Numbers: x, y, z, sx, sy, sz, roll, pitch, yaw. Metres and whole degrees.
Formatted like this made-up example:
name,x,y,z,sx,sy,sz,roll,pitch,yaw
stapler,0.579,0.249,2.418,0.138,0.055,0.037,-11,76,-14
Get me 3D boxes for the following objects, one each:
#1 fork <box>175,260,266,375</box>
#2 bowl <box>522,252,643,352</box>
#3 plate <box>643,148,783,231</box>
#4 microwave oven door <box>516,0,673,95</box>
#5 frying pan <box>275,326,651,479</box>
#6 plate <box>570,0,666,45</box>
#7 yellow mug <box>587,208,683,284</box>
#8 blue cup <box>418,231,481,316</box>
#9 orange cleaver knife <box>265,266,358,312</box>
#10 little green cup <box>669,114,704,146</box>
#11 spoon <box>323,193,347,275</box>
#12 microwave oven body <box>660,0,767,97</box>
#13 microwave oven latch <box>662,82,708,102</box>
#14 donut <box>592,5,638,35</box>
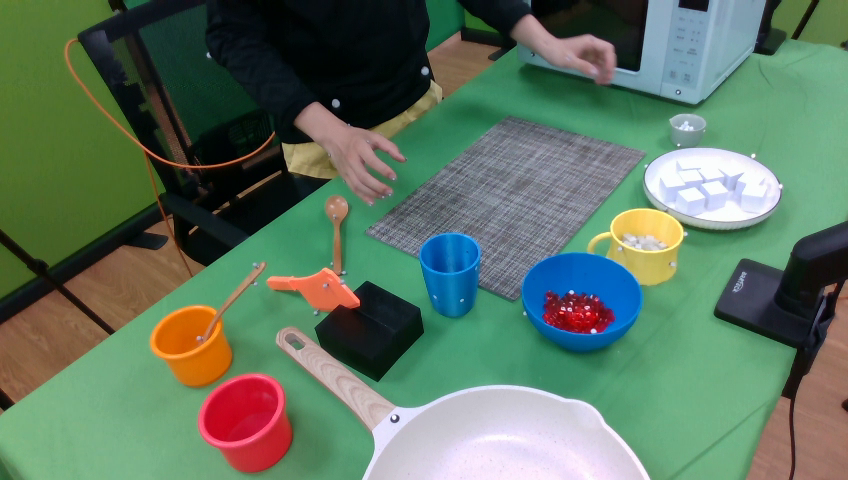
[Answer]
name,x,y,z,sx,sy,sz,roll,pitch,yaw
fork,-0.268,0.102,0.792,0.207,0.019,0.028,-51,41,16
bowl,0.204,0.093,0.792,0.151,0.077,0.150,-4,40,4
plate,0.464,-0.080,0.986,0.207,0.039,0.206,-4,40,4
microwave oven door,0.344,-0.458,1.256,0.353,0.245,0.039,26,51,33
frying pan,0.004,0.229,0.641,0.484,0.103,0.308,34,54,28
plate,0.436,-0.489,1.368,0.209,0.038,0.208,-5,40,5
yellow mug,0.305,0.009,0.884,0.131,0.064,0.099,-4,41,5
blue cup,0.039,0.053,0.843,0.092,0.100,0.092,-4,43,4
orange cleaver knife,-0.164,0.073,0.864,0.210,0.077,0.012,-6,31,50
little green cup,0.485,-0.203,1.123,0.061,0.039,0.061,-5,40,5
spoon,-0.148,-0.014,1.008,0.042,0.022,0.192,1,40,-9
microwave oven body,0.473,-0.516,1.314,0.438,0.261,0.327,26,51,34
microwave oven latch,0.518,-0.298,1.203,0.078,0.029,0.030,28,53,35
donut,0.428,-0.492,1.352,0.099,0.048,0.098,-6,41,6
